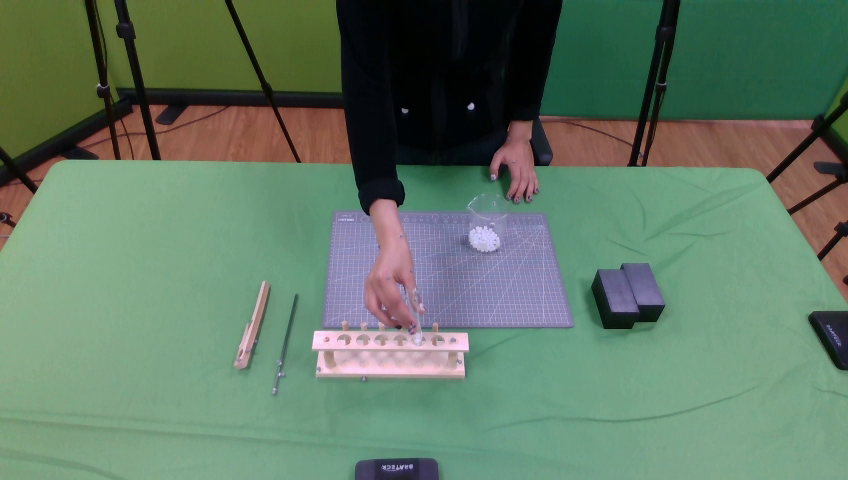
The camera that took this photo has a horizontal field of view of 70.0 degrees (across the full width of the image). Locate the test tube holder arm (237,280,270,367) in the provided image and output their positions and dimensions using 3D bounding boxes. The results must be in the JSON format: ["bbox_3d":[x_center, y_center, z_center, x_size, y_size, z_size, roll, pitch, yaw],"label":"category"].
[{"bbox_3d":[-0.291,0.140,1.042,0.013,0.015,0.177,-18,41,22],"label":"test tube holder arm"}]

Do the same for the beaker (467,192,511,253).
[{"bbox_3d":[0.121,-0.031,1.179,0.084,0.101,0.073,3,46,0],"label":"beaker"}]

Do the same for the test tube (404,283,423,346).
[{"bbox_3d":[-0.015,0.118,0.907,0.017,0.151,0.017,-3,45,3],"label":"test tube"}]

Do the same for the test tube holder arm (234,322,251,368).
[{"bbox_3d":[-0.299,0.174,1.013,0.010,0.015,0.087,-18,41,22],"label":"test tube holder arm"}]

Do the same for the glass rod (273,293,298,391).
[{"bbox_3d":[-0.233,0.167,1.030,0.008,0.008,0.198,3,46,0],"label":"glass rod"}]

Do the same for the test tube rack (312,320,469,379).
[{"bbox_3d":[-0.053,0.173,0.984,0.242,0.085,0.066,1,46,-3],"label":"test tube rack"}]
